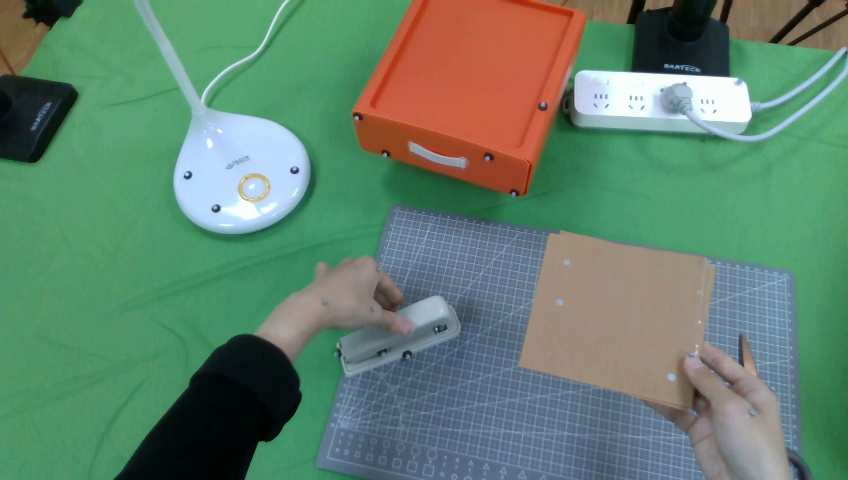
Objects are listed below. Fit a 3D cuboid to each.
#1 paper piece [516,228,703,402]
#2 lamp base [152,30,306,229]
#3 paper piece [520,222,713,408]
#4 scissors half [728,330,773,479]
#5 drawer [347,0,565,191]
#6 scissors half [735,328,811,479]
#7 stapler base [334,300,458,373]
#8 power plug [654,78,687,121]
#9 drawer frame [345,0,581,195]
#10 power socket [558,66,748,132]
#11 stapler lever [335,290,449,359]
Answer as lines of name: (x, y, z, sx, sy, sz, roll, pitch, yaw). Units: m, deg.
paper piece: (0.158, 0.056, 0.511, 0.135, 0.009, 0.137, 10, 62, 17)
lamp base: (-0.233, -0.127, 0.661, 0.160, 0.182, 0.178, -41, 66, -17)
paper piece: (0.167, 0.059, 0.522, 0.135, 0.004, 0.135, 17, 67, 18)
scissors half: (0.310, 0.166, 0.583, 0.040, 0.013, 0.174, 13, 60, -2)
drawer: (0.047, -0.178, 0.682, 0.194, 0.074, 0.210, 18, 65, 12)
scissors half: (0.330, 0.167, 0.584, 0.040, 0.013, 0.173, -5, 62, -5)
stapler base: (-0.029, 0.095, 0.627, 0.130, 0.024, 0.041, -20, 60, -6)
power plug: (0.287, -0.158, 0.713, 0.035, 0.053, 0.072, 14, 65, 9)
drawer frame: (0.048, -0.182, 0.687, 0.201, 0.083, 0.212, 18, 67, 11)
power socket: (0.282, -0.174, 0.747, 0.226, 0.033, 0.071, 5, 64, 4)
stapler lever: (-0.032, 0.084, 0.605, 0.118, 0.040, 0.026, -20, 60, -6)
